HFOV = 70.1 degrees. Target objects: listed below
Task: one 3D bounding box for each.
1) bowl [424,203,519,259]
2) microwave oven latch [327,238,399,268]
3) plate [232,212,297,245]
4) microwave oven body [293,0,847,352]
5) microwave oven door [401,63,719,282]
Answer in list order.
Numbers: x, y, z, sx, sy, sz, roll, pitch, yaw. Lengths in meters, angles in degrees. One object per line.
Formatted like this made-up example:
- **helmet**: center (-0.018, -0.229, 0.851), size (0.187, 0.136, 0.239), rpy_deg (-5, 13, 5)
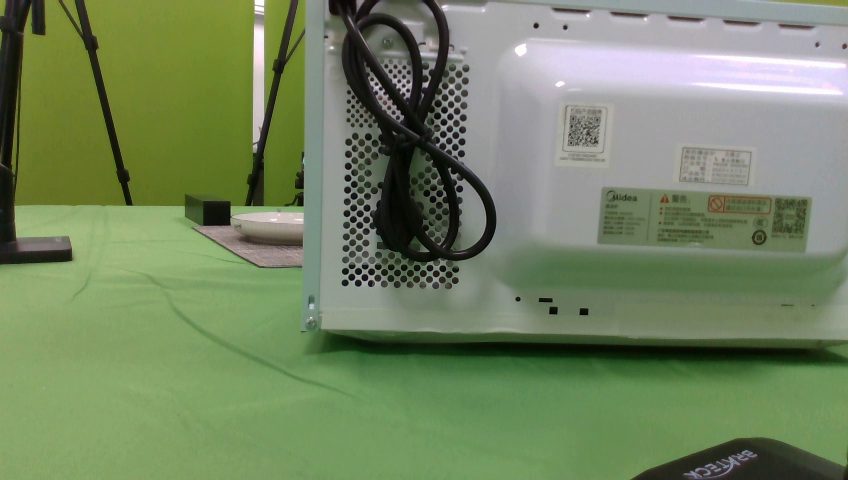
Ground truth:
- **bowl**: center (0.073, -0.015, 0.962), size (0.151, 0.077, 0.151), rpy_deg (3, 8, 0)
- **microwave oven latch**: center (-0.069, 0.015, 0.694), size (0.079, 0.029, 0.030), rpy_deg (3, 7, -2)
- **plate**: center (-0.214, -0.019, 1.018), size (0.208, 0.039, 0.207), rpy_deg (2, 7, 0)
- **microwave oven body**: center (0.122, -0.055, 0.550), size (0.442, 0.260, 0.325), rpy_deg (3, 7, -5)
- **microwave oven door**: center (0.155, -0.081, 0.723), size (0.356, 0.243, 0.039), rpy_deg (3, 8, 4)
